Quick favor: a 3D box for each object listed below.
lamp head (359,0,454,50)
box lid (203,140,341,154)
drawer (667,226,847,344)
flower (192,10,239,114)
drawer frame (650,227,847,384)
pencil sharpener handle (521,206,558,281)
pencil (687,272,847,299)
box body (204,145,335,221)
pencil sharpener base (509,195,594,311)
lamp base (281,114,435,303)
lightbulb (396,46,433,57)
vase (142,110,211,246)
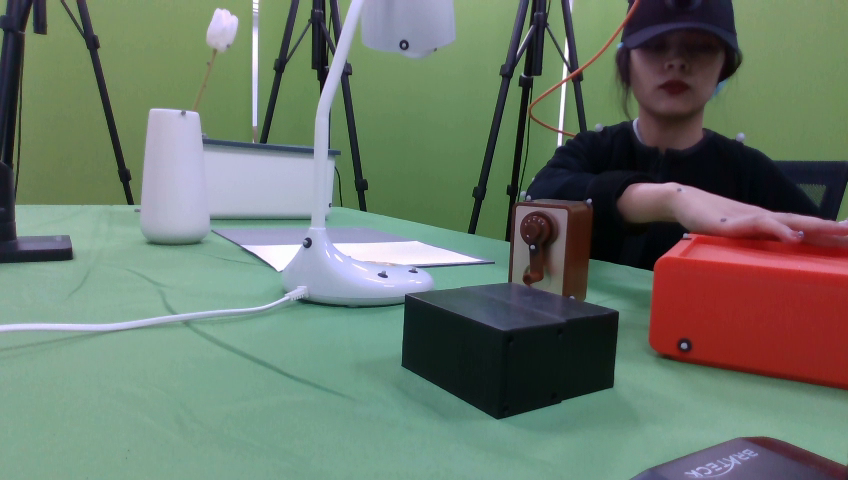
[{"bbox_3d":[-0.024,-0.283,0.674,0.112,0.123,0.112,-3,38,3],"label":"lamp head"},{"bbox_3d":[-0.396,-0.212,1.373,0.373,0.015,0.262,-1,9,-29],"label":"box lid"},{"bbox_3d":[0.346,0.037,0.574,0.194,0.073,0.212,7,9,27],"label":"drawer"},{"bbox_3d":[-0.354,-0.174,0.916,0.038,0.361,0.044,18,-3,12],"label":"flower"},{"bbox_3d":[0.307,0.042,0.497,0.201,0.082,0.214,6,9,27],"label":"drawer frame"},{"bbox_3d":[0.101,0.003,0.556,0.036,0.067,0.031,0,5,31],"label":"pencil sharpener handle"},{"bbox_3d":[0.356,0.045,0.612,0.194,0.012,0.012,7,7,-8],"label":"pencil"},{"bbox_3d":[-0.411,-0.135,1.386,0.366,0.160,0.253,-2,9,-29],"label":"box body"},{"bbox_3d":[0.126,0.011,0.602,0.061,0.107,0.077,7,9,31],"label":"pencil sharpener base"},{"bbox_3d":[-0.071,-0.035,0.615,0.160,0.180,0.180,5,10,27],"label":"lamp base"},{"bbox_3d":[-0.018,-0.265,0.692,0.059,0.108,0.059,-10,27,6],"label":"lightbulb"},{"bbox_3d":[-0.378,-0.093,0.920,0.098,0.200,0.098,2,9,0],"label":"vase"}]
